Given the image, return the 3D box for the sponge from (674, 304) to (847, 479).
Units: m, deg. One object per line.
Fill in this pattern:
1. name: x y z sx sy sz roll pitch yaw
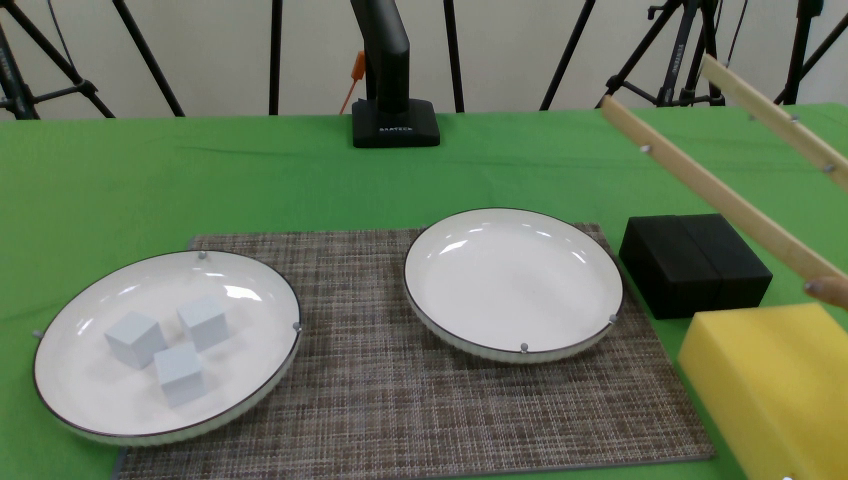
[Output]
1. sponge: 0.297 0.145 0.459 0.118 0.061 0.204 -5 40 -8

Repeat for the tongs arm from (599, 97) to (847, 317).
1. tongs arm: 0.266 -0.007 0.461 0.028 0.028 0.383 -25 51 -18

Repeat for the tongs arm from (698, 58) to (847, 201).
1. tongs arm: 0.323 -0.032 0.472 0.051 0.027 0.380 -21 51 -11

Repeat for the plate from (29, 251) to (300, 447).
1. plate: -0.209 0.088 0.511 0.209 0.038 0.207 2 38 -1

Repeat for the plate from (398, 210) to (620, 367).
1. plate: 0.079 0.046 0.583 0.208 0.039 0.205 2 38 -1
